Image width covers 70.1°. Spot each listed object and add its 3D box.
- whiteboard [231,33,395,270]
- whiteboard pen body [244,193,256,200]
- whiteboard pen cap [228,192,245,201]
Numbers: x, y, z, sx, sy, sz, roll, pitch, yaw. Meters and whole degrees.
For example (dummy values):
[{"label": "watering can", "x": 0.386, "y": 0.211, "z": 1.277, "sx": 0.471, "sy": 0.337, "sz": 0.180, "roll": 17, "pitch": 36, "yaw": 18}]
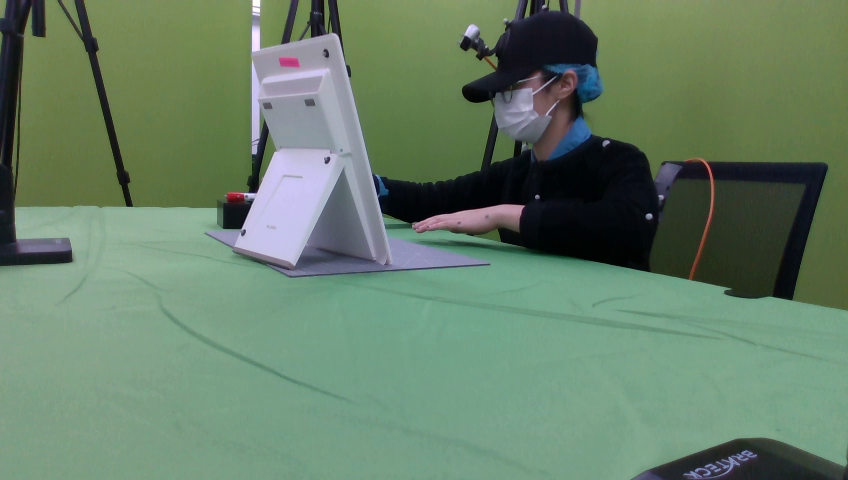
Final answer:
[{"label": "whiteboard", "x": -0.193, "y": -0.094, "z": 0.805, "sx": 0.144, "sy": 0.305, "sz": 0.216, "roll": -28, "pitch": 25, "yaw": -35}, {"label": "whiteboard pen body", "x": -0.327, "y": -0.089, "z": 1.246, "sx": 0.141, "sy": 0.017, "sz": 0.017, "roll": -1, "pitch": 8, "yaw": -29}, {"label": "whiteboard pen cap", "x": -0.377, "y": -0.088, "z": 1.217, "sx": 0.032, "sy": 0.017, "sz": 0.017, "roll": 0, "pitch": 7, "yaw": -29}]
